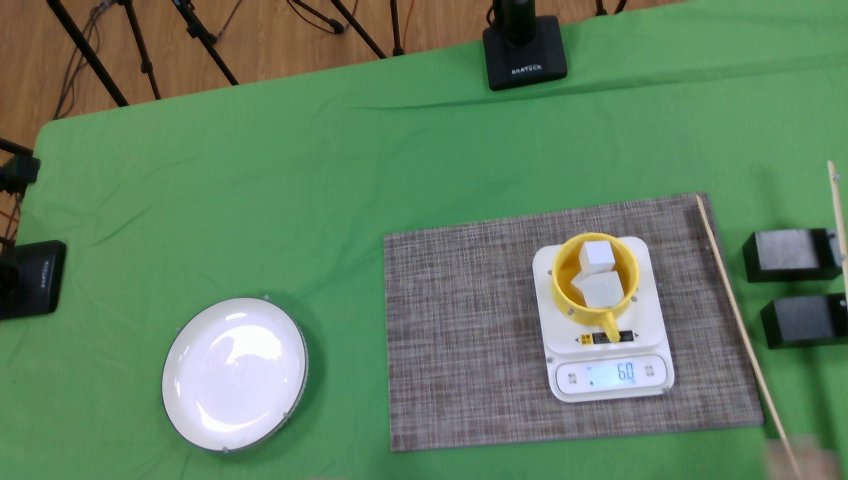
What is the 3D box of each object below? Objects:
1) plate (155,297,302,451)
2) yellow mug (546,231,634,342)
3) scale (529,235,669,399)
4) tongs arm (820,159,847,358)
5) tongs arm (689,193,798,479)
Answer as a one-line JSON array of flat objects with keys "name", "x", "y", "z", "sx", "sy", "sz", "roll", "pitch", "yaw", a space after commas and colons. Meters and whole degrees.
[{"name": "plate", "x": -0.263, "y": 0.182, "z": 0.831, "sx": 0.207, "sy": 0.039, "sz": 0.206, "roll": -4, "pitch": 68, "yaw": 9}, {"name": "yellow mug", "x": 0.204, "y": 0.061, "z": 0.734, "sx": 0.100, "sy": 0.064, "sz": 0.130, "roll": -17, "pitch": 68, "yaw": 4}, {"name": "scale", "x": 0.218, "y": 0.094, "z": 0.770, "sx": 0.148, "sy": 0.032, "sz": 0.199, "roll": -8, "pitch": 68, "yaw": 9}, {"name": "tongs arm", "x": 0.455, "y": 0.096, "z": 0.683, "sx": 0.050, "sy": 0.027, "sz": 0.382, "roll": -9, "pitch": 73, "yaw": 34}, {"name": "tongs arm", "x": 0.390, "y": 0.115, "z": 0.728, "sx": 0.028, "sy": 0.028, "sz": 0.384, "roll": -22, "pitch": 66, "yaw": 26}]
